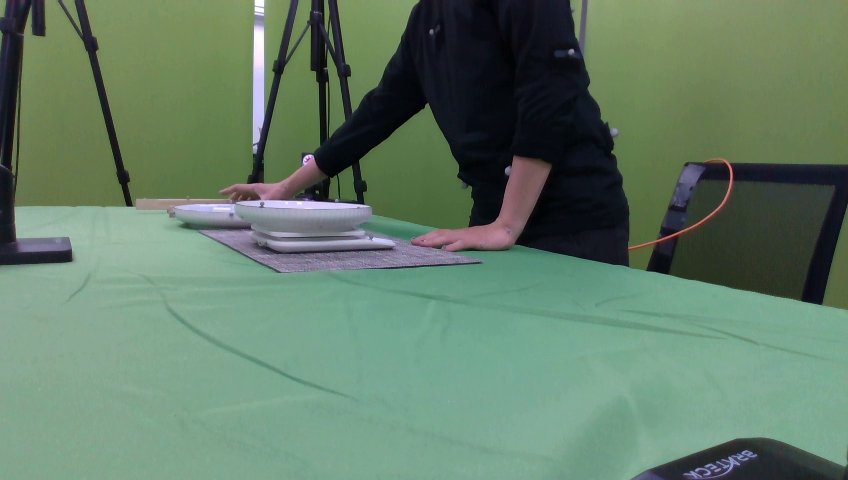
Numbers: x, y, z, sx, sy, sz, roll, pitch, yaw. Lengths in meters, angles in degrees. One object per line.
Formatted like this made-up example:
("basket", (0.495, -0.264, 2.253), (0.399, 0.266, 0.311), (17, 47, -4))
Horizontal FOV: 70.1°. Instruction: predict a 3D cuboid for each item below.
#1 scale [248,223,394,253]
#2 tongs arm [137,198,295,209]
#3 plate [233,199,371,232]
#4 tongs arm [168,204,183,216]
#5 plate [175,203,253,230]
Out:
("scale", (-0.162, -0.006, 0.954), (0.202, 0.031, 0.148), (-2, 8, -32))
("tongs arm", (-0.488, -0.088, 1.473), (0.387, 0.026, 0.050), (-4, 9, -45))
("plate", (-0.188, -0.039, 0.939), (0.209, 0.038, 0.209), (3, 7, 0))
("tongs arm", (-0.428, -0.077, 1.422), (0.028, 0.028, 0.389), (3, 6, 33))
("plate", (-0.381, -0.047, 1.199), (0.208, 0.039, 0.207), (3, 7, 0))
